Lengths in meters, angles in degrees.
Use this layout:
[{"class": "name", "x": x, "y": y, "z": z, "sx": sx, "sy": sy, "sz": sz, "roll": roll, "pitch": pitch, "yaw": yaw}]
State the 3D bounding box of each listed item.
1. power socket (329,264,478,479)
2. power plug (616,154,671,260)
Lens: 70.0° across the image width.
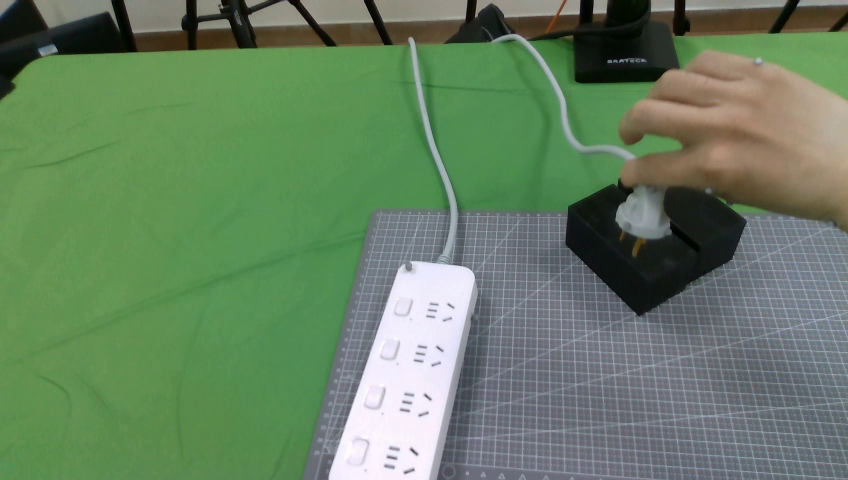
[{"class": "power socket", "x": -0.009, "y": 0.108, "z": 0.478, "sx": 0.072, "sy": 0.033, "sz": 0.225, "roll": 7, "pitch": 50, "yaw": 13}, {"class": "power plug", "x": 0.156, "y": -0.022, "z": 0.427, "sx": 0.035, "sy": 0.053, "sz": 0.072, "roll": 18, "pitch": 36, "yaw": 13}]
